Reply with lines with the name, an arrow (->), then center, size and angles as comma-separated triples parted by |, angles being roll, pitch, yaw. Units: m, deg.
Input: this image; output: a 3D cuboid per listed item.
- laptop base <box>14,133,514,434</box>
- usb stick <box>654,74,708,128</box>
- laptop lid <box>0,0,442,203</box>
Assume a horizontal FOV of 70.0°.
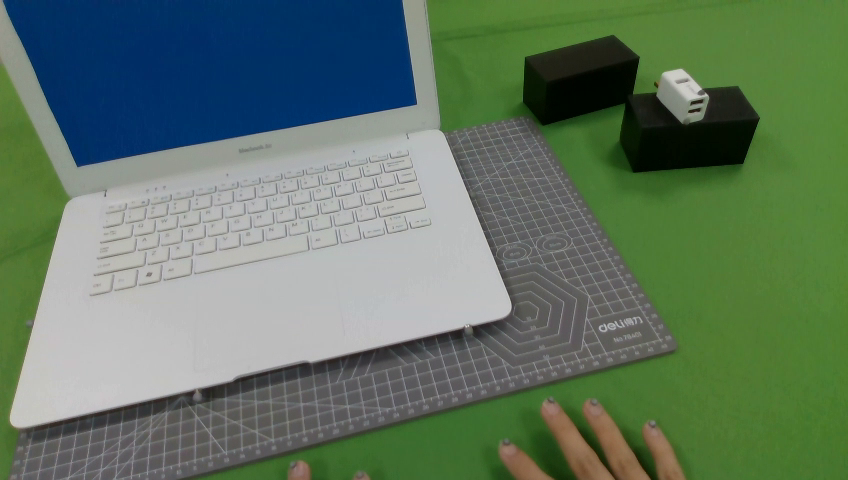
laptop base -> -0.128, 0.016, 0.500 | 0.355, 0.023, 0.233 | -12, 49, -6
usb stick -> 0.220, -0.124, 0.526 | 0.021, 0.027, 0.058 | -14, 43, -5
laptop lid -> -0.168, -0.165, 0.519 | 0.357, 0.244, 0.013 | -13, 32, -5
